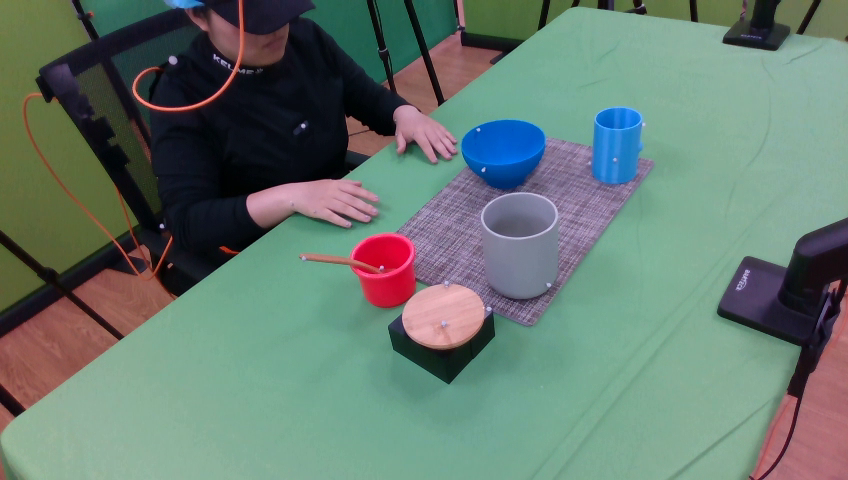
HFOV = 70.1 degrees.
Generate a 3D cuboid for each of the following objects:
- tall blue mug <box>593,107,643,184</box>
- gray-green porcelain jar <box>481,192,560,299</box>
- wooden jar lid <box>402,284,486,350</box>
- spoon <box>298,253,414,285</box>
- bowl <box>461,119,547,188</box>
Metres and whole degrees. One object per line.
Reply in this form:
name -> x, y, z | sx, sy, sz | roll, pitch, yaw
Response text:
tall blue mug -> 0.330, -0.172, 1.052 | 0.078, 0.108, 0.106 | -12, 40, 0
gray-green porcelain jar -> 0.138, 0.012, 0.858 | 0.106, 0.127, 0.105 | -6, 40, 5
wooden jar lid -> 0.026, 0.101, 0.786 | 0.108, 0.021, 0.108 | -5, 39, 4
spoon -> -0.093, 0.038, 0.866 | 0.195, 0.021, 0.041 | 18, 24, -40
bowl -> 0.145, -0.145, 1.081 | 0.151, 0.077, 0.150 | -5, 40, 5
